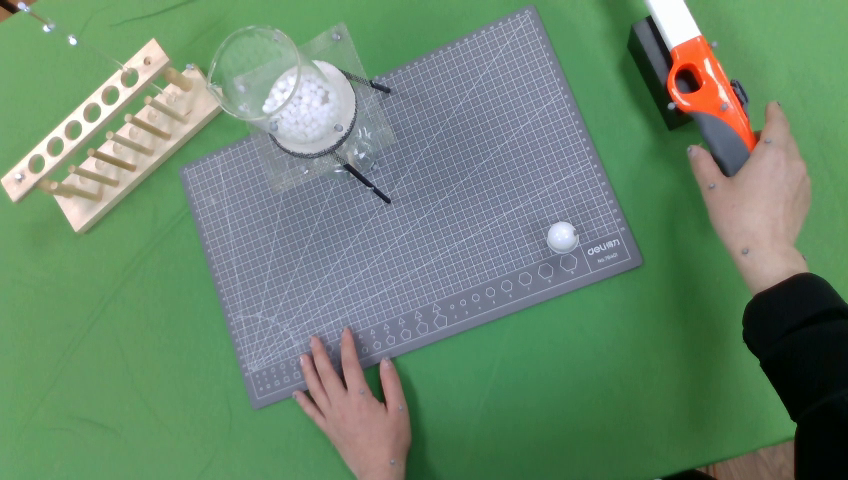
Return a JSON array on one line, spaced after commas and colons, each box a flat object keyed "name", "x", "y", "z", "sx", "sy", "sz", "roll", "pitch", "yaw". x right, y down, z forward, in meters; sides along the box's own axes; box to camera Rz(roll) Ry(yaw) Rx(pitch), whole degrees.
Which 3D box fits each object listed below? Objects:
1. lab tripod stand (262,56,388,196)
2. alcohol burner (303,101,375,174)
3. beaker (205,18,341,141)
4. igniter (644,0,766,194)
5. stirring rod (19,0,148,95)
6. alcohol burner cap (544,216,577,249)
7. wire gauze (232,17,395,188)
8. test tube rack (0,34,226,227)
[{"name": "lab tripod stand", "x": -0.089, "y": -0.116, "z": 0.613, "sx": 0.148, "sy": 0.132, "sz": 0.148, "roll": -1, "pitch": 86, "yaw": 11}, {"name": "alcohol burner", "x": -0.093, "y": -0.110, "z": 0.624, "sx": 0.078, "sy": 0.119, "sz": 0.077, "roll": -1, "pitch": 84, "yaw": 11}, {"name": "beaker", "x": -0.119, "y": -0.126, "z": 0.504, "sx": 0.084, "sy": 0.100, "sz": 0.074, "roll": -8, "pitch": 84, "yaw": 12}, {"name": "igniter", "x": 0.240, "y": -0.172, "z": 0.553, "sx": 0.057, "sy": 0.025, "sz": 0.275, "roll": -23, "pitch": 79, "yaw": 12}, {"name": "stirring rod", "x": -0.341, "y": -0.192, "z": 0.623, "sx": 0.006, "sy": 0.177, "sz": 0.014, "roll": -37, "pitch": 72, "yaw": 1}, {"name": "alcohol burner cap", "x": 0.136, "y": -0.009, "z": 0.602, "sx": 0.034, "sy": 0.048, "sz": 0.034, "roll": -1, "pitch": 84, "yaw": 12}, {"name": "wire gauze", "x": -0.104, "y": -0.123, "z": 0.549, "sx": 0.125, "sy": 0.011, "sz": 0.121, "roll": -22, "pitch": 85, "yaw": 8}, {"name": "test tube rack", "x": -0.358, "y": -0.119, "z": 0.701, "sx": 0.242, "sy": 0.085, "sz": 0.066, "roll": -39, "pitch": 78, "yaw": 7}]
